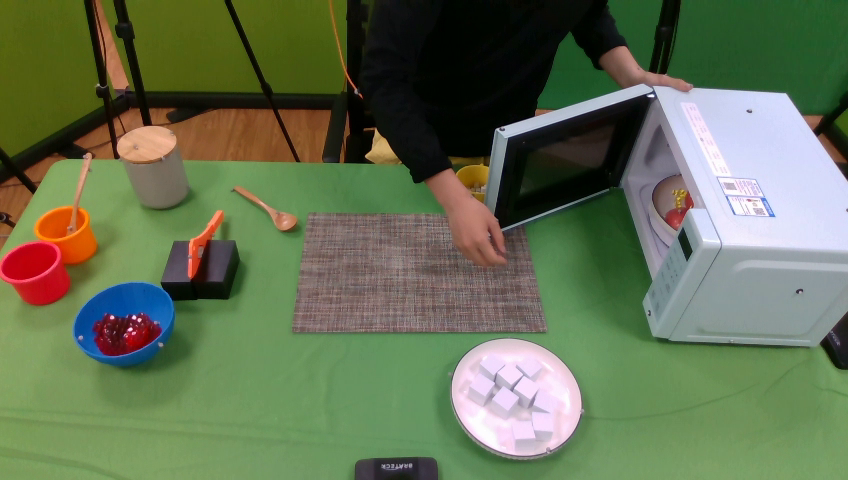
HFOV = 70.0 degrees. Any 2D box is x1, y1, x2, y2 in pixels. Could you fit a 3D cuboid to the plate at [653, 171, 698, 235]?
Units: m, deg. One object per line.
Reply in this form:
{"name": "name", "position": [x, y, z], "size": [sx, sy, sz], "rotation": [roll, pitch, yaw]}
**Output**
{"name": "plate", "position": [0.551, -0.054, 1.188], "size": [0.209, 0.038, 0.208], "rotation": [2, 47, -2]}

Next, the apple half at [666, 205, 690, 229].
{"name": "apple half", "position": [0.507, -0.046, 1.168], "size": [0.081, 0.033, 0.081], "rotation": [4, 46, -4]}

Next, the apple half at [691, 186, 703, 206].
{"name": "apple half", "position": [0.570, -0.089, 1.194], "size": [0.081, 0.053, 0.074], "rotation": [0, 33, 14]}

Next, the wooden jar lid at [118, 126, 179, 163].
{"name": "wooden jar lid", "position": [-0.528, -0.181, 1.167], "size": [0.108, 0.021, 0.107], "rotation": [4, 48, -4]}

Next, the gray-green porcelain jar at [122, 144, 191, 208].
{"name": "gray-green porcelain jar", "position": [-0.531, -0.137, 1.214], "size": [0.106, 0.127, 0.105], "rotation": [2, 47, -2]}

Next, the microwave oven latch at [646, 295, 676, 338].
{"name": "microwave oven latch", "position": [0.413, 0.133, 1.060], "size": [0.030, 0.029, 0.078], "rotation": [3, 46, 1]}

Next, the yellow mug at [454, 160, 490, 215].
{"name": "yellow mug", "position": [0.117, -0.119, 1.284], "size": [0.100, 0.064, 0.130], "rotation": [8, 44, 4]}

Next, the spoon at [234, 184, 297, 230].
{"name": "spoon", "position": [-0.327, -0.073, 1.240], "size": [0.193, 0.022, 0.041], "rotation": [34, 71, 25]}

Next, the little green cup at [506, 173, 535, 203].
{"name": "little green cup", "position": [0.205, -0.111, 1.302], "size": [0.061, 0.039, 0.061], "rotation": [3, 47, -3]}

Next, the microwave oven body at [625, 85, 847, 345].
{"name": "microwave oven body", "position": [0.569, -0.054, 1.116], "size": [0.326, 0.261, 0.439], "rotation": [2, 46, -1]}

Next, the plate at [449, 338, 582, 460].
{"name": "plate", "position": [0.141, 0.251, 0.955], "size": [0.208, 0.039, 0.206], "rotation": [2, 46, -2]}

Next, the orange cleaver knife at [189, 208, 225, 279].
{"name": "orange cleaver knife", "position": [-0.400, 0.002, 1.122], "size": [0.012, 0.077, 0.210], "rotation": [4, 23, -4]}

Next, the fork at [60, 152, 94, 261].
{"name": "fork", "position": [-0.638, -0.063, 1.120], "size": [0.028, 0.018, 0.207], "rotation": [12, 90, 6]}

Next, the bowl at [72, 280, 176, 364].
{"name": "bowl", "position": [-0.473, 0.146, 0.982], "size": [0.151, 0.077, 0.150], "rotation": [2, 46, -2]}

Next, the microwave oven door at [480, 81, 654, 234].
{"name": "microwave oven door", "position": [0.281, -0.163, 1.192], "size": [0.356, 0.245, 0.039], "rotation": [-21, 51, -22]}
